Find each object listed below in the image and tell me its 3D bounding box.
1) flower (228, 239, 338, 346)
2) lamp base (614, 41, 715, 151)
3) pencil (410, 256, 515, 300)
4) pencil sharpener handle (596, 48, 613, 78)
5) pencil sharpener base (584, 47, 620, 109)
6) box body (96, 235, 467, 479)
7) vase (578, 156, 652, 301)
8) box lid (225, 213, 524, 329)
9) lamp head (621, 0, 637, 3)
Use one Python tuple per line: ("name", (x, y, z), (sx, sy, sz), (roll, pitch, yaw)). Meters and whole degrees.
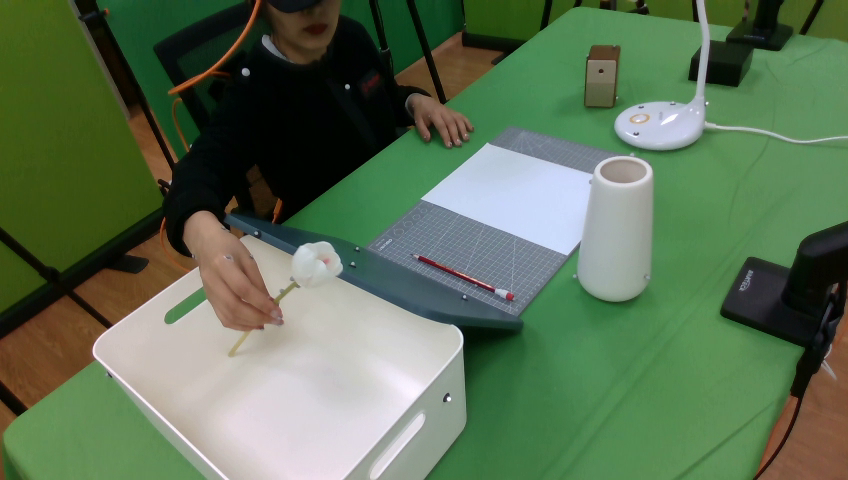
("flower", (-0.185, 0.080, 0.710), (0.044, 0.360, 0.038), (26, 56, -19))
("lamp base", (0.449, -0.277, 1.106), (0.179, 0.181, 0.160), (1, 41, 9))
("pencil", (0.054, 0.054, 0.918), (0.192, 0.012, 0.012), (21, 48, 33))
("pencil sharpener handle", (0.383, -0.378, 1.276), (0.036, 0.068, 0.030), (3, 41, 21))
("pencil sharpener base", (0.367, -0.336, 1.248), (0.061, 0.107, 0.076), (6, 42, 19))
("box body", (-0.155, 0.169, 0.707), (0.361, 0.161, 0.255), (23, 49, 33))
("vase", (0.261, -0.011, 0.812), (0.098, 0.201, 0.097), (-4, 40, 4))
("box lid", (-0.066, 0.042, 0.816), (0.368, 0.265, 0.015), (22, 93, 32))
("lamp head", (0.319, -0.453, 0.962), (0.113, 0.123, 0.112), (20, 33, -13))
